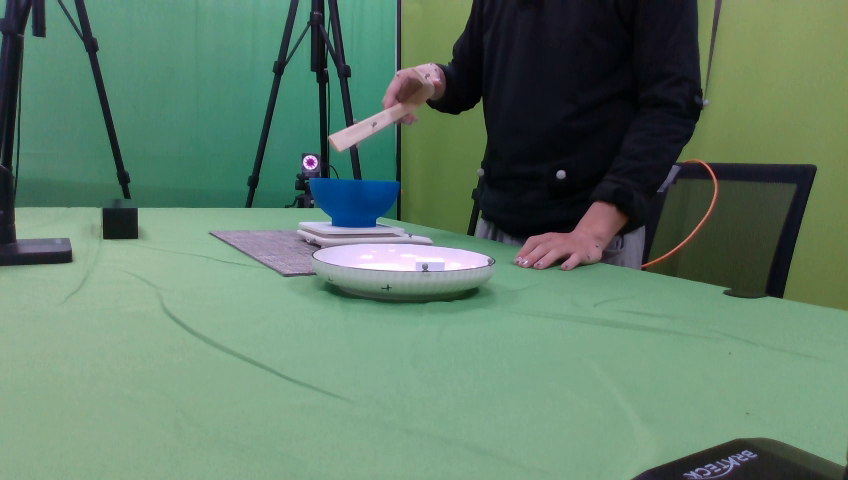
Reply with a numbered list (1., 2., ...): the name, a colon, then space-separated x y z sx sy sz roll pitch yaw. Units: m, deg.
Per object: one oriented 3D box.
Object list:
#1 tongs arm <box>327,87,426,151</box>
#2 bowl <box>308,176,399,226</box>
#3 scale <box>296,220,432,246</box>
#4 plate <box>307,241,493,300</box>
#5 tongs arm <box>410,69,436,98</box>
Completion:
1. tongs arm: -0.062 -0.199 0.959 0.050 0.026 0.385 -36 8 21
2. bowl: -0.116 -0.064 1.001 0.151 0.077 0.151 2 6 0
3. scale: -0.101 -0.012 1.017 0.202 0.031 0.148 -1 8 -30
4. plate: -0.027 0.034 0.684 0.208 0.039 0.207 2 7 0
5. tongs arm: -0.001 -0.241 0.937 0.028 0.028 0.387 -41 7 10
